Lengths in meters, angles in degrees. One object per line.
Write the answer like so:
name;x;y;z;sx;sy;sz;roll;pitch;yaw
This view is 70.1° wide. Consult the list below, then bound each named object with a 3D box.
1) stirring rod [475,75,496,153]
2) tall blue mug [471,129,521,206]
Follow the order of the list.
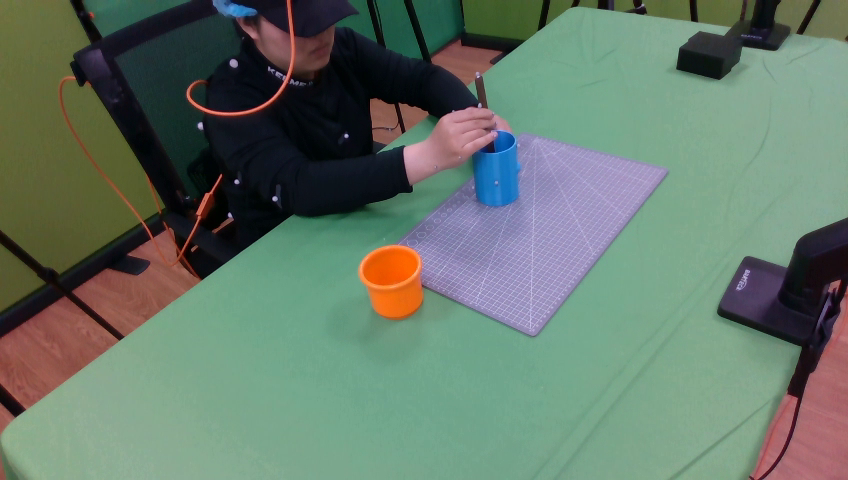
stirring rod;0.102;-0.192;0.988;0.014;0.177;0.005;-36;48;-17
tall blue mug;0.118;-0.132;1.046;0.078;0.108;0.106;-20;41;-10
